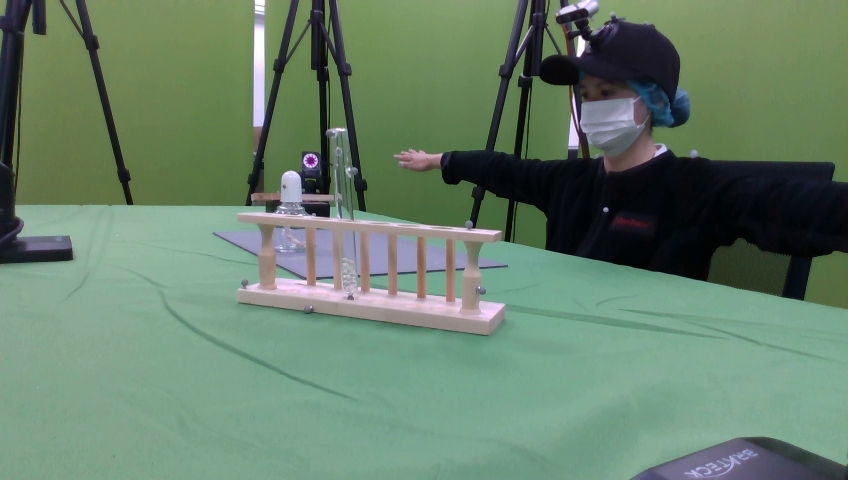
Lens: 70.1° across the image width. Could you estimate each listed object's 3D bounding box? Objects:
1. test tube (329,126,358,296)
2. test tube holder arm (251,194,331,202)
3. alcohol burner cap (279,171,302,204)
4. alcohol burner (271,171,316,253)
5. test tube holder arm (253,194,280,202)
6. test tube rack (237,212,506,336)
[{"bbox_3d":[-0.071,-0.025,0.535,0.017,0.150,0.017,-3,8,1],"label":"test tube"},{"bbox_3d":[-0.268,-0.085,1.237,0.179,0.015,0.013,-3,6,-43],"label":"test tube holder arm"},{"bbox_3d":[-0.195,-0.077,0.880,0.034,0.048,0.034,1,6,0],"label":"alcohol burner cap"},{"bbox_3d":[-0.196,-0.041,0.884,0.078,0.119,0.078,3,5,0],"label":"alcohol burner"},{"bbox_3d":[-0.297,-0.083,1.202,0.088,0.015,0.010,-3,6,-41],"label":"test tube holder arm"},{"bbox_3d":[-0.049,0.024,0.552,0.242,0.085,0.067,5,8,18],"label":"test tube rack"}]
